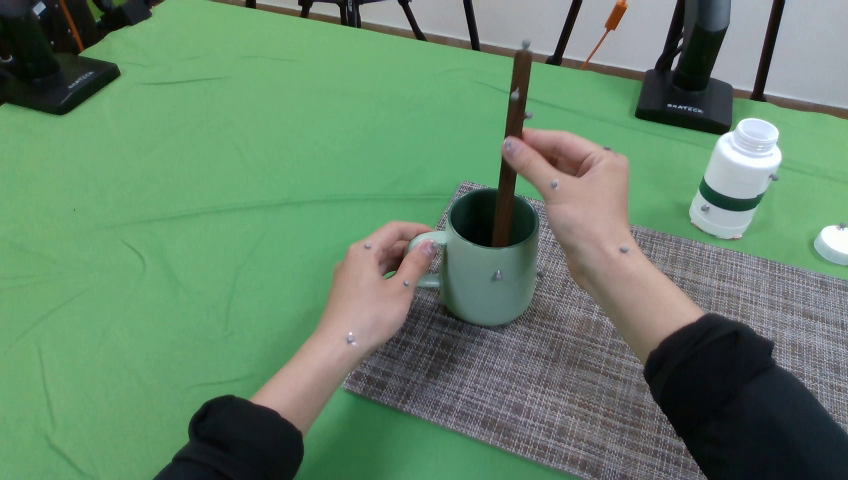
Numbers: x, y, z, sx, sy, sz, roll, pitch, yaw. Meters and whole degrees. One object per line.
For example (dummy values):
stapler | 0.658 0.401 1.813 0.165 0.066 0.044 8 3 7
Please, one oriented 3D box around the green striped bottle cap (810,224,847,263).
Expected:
green striped bottle cap | 0.432 0.004 0.635 0.044 0.020 0.044 1 42 0

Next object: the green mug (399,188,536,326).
green mug | 0.040 0.019 0.551 0.125 0.106 0.091 -6 46 -6

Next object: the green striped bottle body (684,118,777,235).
green striped bottle body | 0.320 -0.067 0.631 0.063 0.120 0.062 0 45 0

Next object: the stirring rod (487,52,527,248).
stirring rod | 0.064 -0.057 0.480 0.014 0.177 0.006 5 25 2
